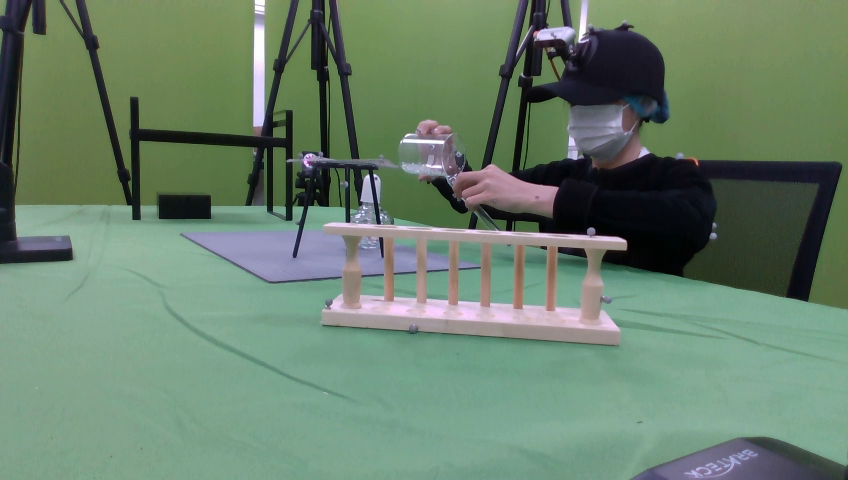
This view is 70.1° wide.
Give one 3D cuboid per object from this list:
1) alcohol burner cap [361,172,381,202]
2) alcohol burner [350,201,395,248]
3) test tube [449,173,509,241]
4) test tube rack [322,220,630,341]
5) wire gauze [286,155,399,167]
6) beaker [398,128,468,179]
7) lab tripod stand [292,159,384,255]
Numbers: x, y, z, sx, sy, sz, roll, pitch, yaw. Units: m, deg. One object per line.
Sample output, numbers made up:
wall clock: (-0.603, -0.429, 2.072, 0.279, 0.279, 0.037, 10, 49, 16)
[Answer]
alcohol burner cap: (-0.081, -0.084, 0.949, 0.034, 0.048, 0.034, 7, 7, -1)
alcohol burner: (-0.084, -0.048, 0.953, 0.078, 0.119, 0.078, 1, 6, 0)
test tube: (0.090, -0.054, 0.972, 0.017, 0.017, 0.149, -7, 51, -50)
test tube rack: (0.041, 0.029, 0.512, 0.242, 0.085, 0.067, 3, 7, 5)
wire gauze: (-0.101, -0.105, 0.788, 0.121, 0.011, 0.125, 4, 6, 6)
beaker: (0.012, -0.148, 1.024, 0.100, 0.084, 0.074, 9, 7, 36)
lab tripod stand: (-0.105, -0.039, 0.797, 0.148, 0.131, 0.148, 2, 5, 0)
